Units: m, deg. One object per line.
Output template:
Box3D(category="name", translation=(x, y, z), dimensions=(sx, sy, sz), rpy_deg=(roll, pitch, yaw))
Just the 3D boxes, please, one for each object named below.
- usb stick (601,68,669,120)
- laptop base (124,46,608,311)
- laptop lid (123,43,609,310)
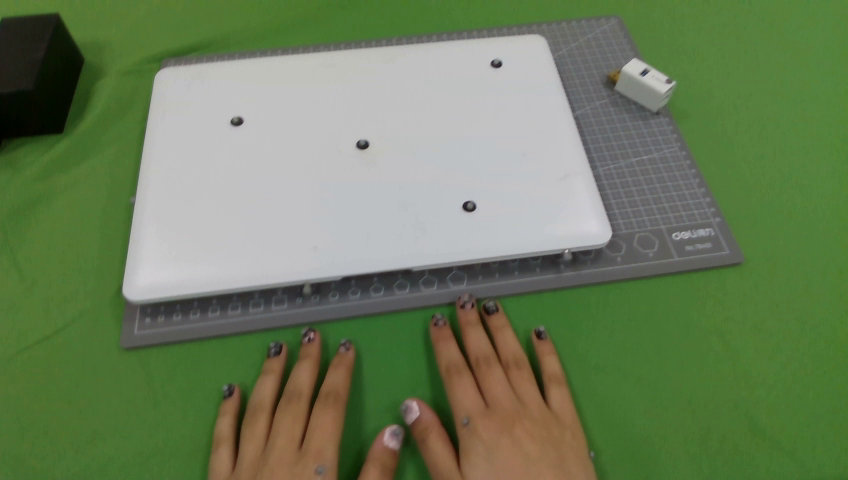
Box3D(category="usb stick", translation=(0.186, -0.134, 0.542), dimensions=(0.058, 0.027, 0.021), rpy_deg=(38, 63, 26))
Box3D(category="laptop base", translation=(-0.051, -0.063, 0.501), dimensions=(0.355, 0.023, 0.233), rpy_deg=(-7, 59, -5))
Box3D(category="laptop lid", translation=(-0.051, -0.068, 0.490), dimensions=(0.357, 0.013, 0.239), rpy_deg=(-5, 58, -3))
